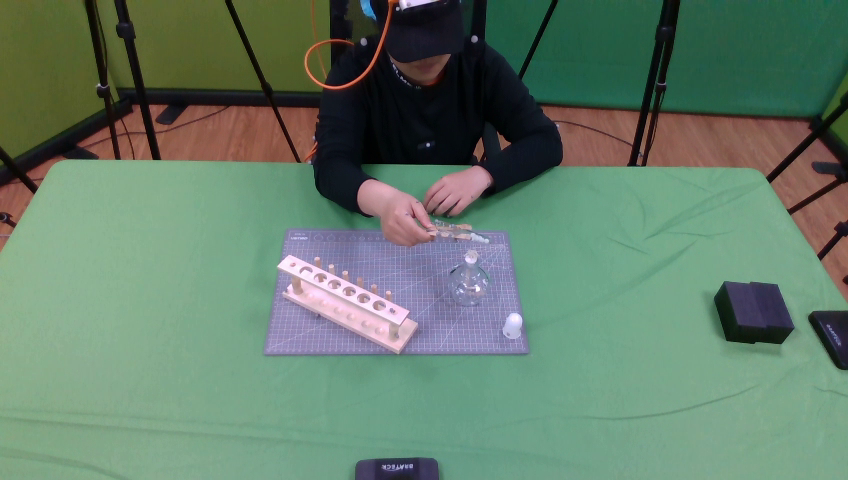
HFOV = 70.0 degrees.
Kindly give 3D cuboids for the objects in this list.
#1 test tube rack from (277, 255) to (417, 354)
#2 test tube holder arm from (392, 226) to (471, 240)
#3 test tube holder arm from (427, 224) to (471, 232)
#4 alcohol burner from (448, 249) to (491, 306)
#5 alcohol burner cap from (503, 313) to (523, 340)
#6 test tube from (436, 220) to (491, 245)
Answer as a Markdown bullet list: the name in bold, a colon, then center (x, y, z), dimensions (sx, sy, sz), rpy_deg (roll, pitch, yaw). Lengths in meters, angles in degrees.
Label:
- **test tube rack**: center (-0.131, 0.099, 1.046), dimensions (0.241, 0.085, 0.066), rpy_deg (23, 49, 17)
- **test tube holder arm**: center (0.008, -0.013, 1.018), dimensions (0.178, 0.015, 0.013), rpy_deg (5, 80, 46)
- **test tube holder arm**: center (0.040, -0.018, 0.987), dimensions (0.087, 0.015, 0.010), rpy_deg (-5, 74, 44)
- **alcohol burner**: center (0.081, 0.062, 1.078), dimensions (0.078, 0.120, 0.077), rpy_deg (1, 45, -1)
- **alcohol burner cap**: center (0.156, 0.148, 1.051), dimensions (0.034, 0.048, 0.033), rpy_deg (1, 45, -1)
- **test tube**: center (0.067, -0.010, 0.985), dimensions (0.151, 0.017, 0.017), rpy_deg (16, 25, -52)
